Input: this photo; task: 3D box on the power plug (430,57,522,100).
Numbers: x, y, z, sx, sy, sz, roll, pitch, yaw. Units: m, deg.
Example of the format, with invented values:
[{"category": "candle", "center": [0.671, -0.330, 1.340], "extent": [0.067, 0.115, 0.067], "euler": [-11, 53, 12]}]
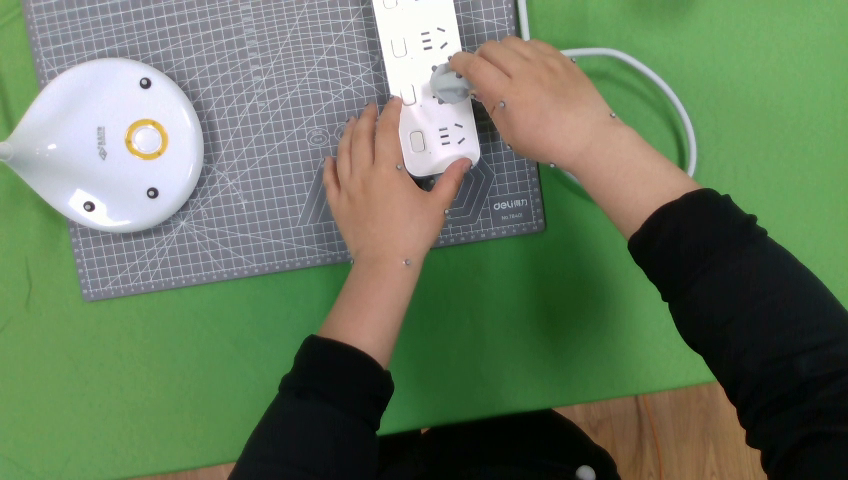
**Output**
[{"category": "power plug", "center": [0.041, -0.137, 0.518], "extent": [0.073, 0.052, 0.035], "euler": [1, 96, -13]}]

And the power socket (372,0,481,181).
[{"category": "power socket", "center": [-0.001, -0.167, 0.546], "extent": [0.072, 0.032, 0.227], "euler": [-11, 95, 1]}]

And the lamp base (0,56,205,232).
[{"category": "lamp base", "center": [-0.296, -0.078, 0.483], "extent": [0.179, 0.180, 0.161], "euler": [-14, 94, 5]}]
